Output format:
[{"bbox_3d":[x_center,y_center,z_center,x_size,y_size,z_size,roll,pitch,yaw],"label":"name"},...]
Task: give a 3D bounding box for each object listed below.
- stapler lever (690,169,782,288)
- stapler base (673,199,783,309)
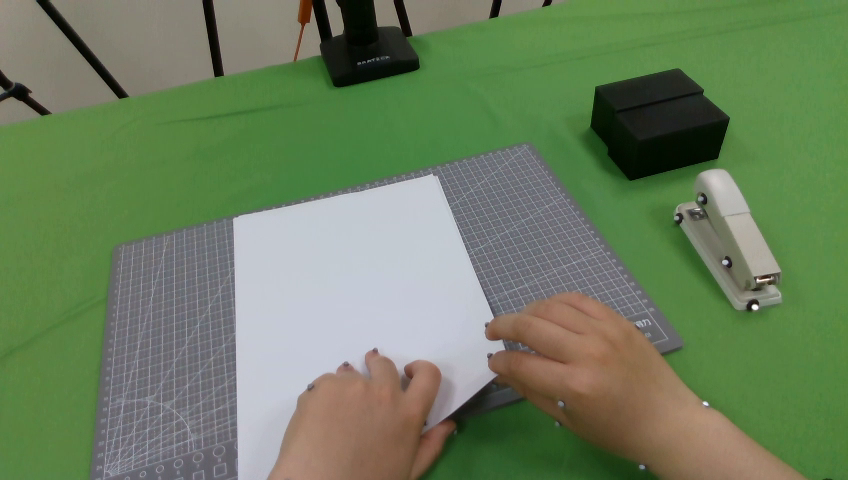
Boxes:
[{"bbox_3d":[0.263,-0.014,0.513,0.027,0.040,0.116,-11,46,-1],"label":"stapler lever"},{"bbox_3d":[0.264,0.003,0.532,0.041,0.025,0.129,-11,46,-1],"label":"stapler base"}]
